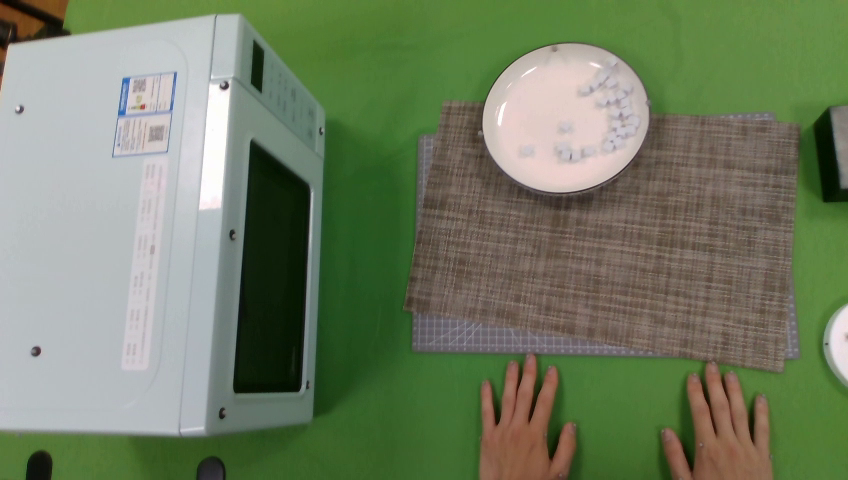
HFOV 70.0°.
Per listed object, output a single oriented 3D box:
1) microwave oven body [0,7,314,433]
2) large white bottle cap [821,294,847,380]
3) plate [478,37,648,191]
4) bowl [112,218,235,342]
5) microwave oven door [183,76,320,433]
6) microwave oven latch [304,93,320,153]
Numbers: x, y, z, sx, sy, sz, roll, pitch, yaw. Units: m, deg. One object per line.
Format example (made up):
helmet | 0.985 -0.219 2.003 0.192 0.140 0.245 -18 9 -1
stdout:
microwave oven body | -0.326 -0.002 0.740 0.325 0.262 0.439 -3 78 12
large white bottle cap | 0.499 0.108 0.659 0.114 0.018 0.114 -2 78 11
plate | 0.175 -0.158 0.777 0.209 0.038 0.208 -3 76 12
bowl | -0.294 0.055 0.753 0.151 0.077 0.150 -3 77 11
microwave oven door | -0.185 0.030 0.696 0.039 0.245 0.354 -3 77 13
microwave oven latch | -0.160 -0.161 0.839 0.030 0.030 0.079 -3 78 12
